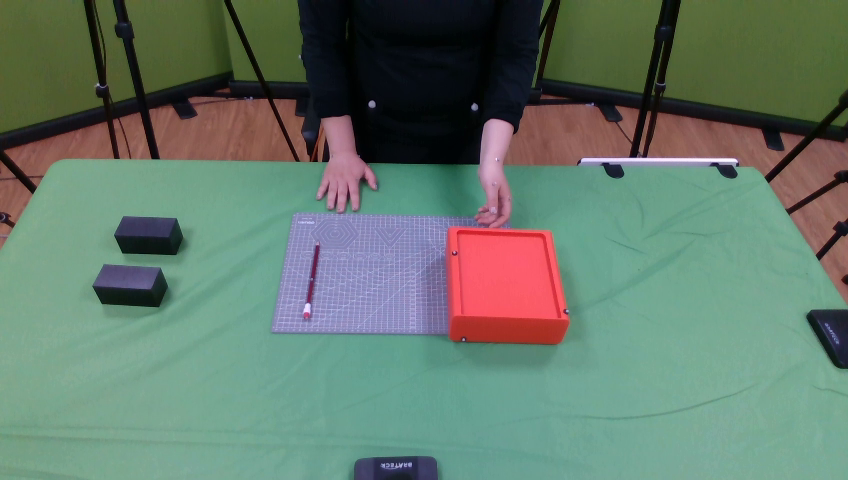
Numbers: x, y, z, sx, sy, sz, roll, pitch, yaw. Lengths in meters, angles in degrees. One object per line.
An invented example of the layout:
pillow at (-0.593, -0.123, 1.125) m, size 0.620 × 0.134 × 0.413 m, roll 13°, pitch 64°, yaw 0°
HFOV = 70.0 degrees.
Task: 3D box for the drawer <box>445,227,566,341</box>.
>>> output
drawer at (0.139, 0.076, 1.091) m, size 0.195 × 0.073 × 0.210 m, roll 3°, pitch 47°, yaw -4°

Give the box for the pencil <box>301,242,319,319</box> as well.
pencil at (-0.207, 0.070, 1.119) m, size 0.012 × 0.012 × 0.193 m, roll 2°, pitch 43°, yaw -2°

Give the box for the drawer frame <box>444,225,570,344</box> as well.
drawer frame at (0.141, 0.077, 1.088) m, size 0.202 × 0.083 × 0.212 m, roll 2°, pitch 47°, yaw -4°
